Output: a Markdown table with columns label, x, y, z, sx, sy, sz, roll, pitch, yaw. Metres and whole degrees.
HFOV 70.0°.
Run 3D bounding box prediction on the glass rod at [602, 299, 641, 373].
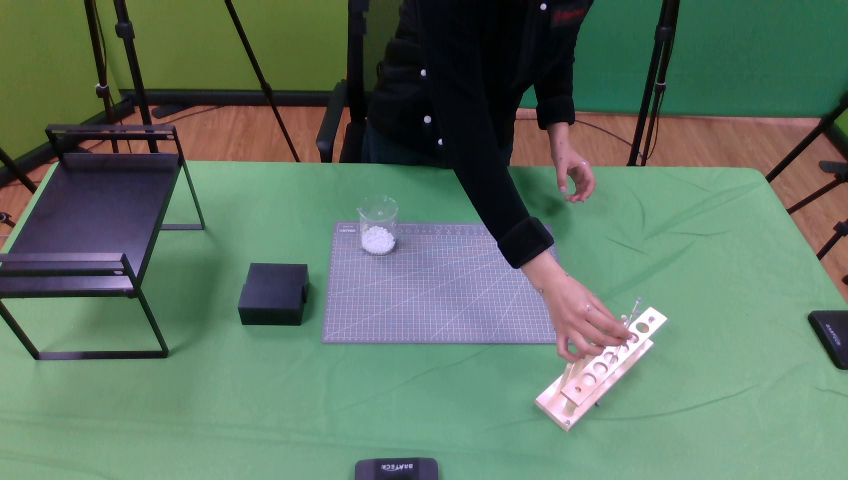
| label | x | y | z | sx | sy | sz | roll | pitch | yaw |
| --- | --- | --- | --- | --- | --- | --- | --- | --- | --- |
| glass rod | 0.293 | 0.151 | 0.907 | 0.008 | 0.201 | 0.008 | 2 | 46 | -2 |

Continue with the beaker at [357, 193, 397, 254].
| label | x | y | z | sx | sy | sz | roll | pitch | yaw |
| --- | --- | --- | --- | --- | --- | --- | --- | --- | --- |
| beaker | -0.088 | -0.030 | 1.159 | 0.074 | 0.101 | 0.083 | 14 | 46 | 9 |

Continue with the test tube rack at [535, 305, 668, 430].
| label | x | y | z | sx | sy | sz | roll | pitch | yaw |
| --- | --- | --- | --- | --- | --- | --- | --- | --- | --- |
| test tube rack | 0.290 | 0.193 | 0.984 | 0.242 | 0.085 | 0.066 | -32 | 56 | -30 |
